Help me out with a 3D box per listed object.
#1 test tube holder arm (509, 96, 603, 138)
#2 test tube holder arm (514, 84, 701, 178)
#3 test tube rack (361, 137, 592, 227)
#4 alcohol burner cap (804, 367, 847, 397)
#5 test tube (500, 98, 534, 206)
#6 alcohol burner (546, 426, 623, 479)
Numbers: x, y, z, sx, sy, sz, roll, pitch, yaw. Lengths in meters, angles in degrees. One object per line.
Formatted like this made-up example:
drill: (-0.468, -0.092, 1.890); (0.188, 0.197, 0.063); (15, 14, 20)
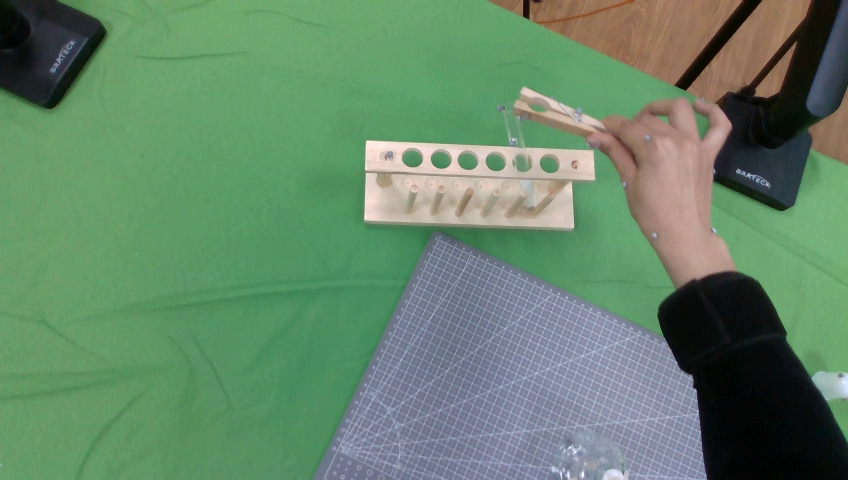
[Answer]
test tube holder arm: (0.121, -0.112, 0.553); (0.087, 0.015, 0.010); (19, 75, 9)
test tube holder arm: (0.163, -0.099, 0.547); (0.178, 0.015, 0.013); (26, 77, 11)
test tube rack: (0.053, -0.061, 0.666); (0.243, 0.085, 0.066); (2, 75, -6)
alcohol burner cap: (0.457, 0.159, 0.679); (0.034, 0.048, 0.033); (1, 75, -5)
test tube: (0.099, -0.087, 0.634); (0.017, 0.152, 0.017); (-9, 51, 12)
alcohol burner: (0.163, 0.224, 0.593); (0.078, 0.119, 0.077); (1, 77, -6)
